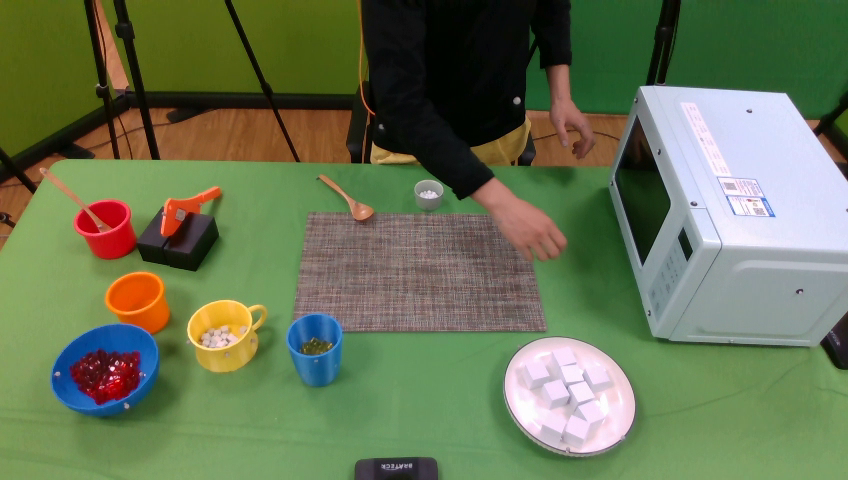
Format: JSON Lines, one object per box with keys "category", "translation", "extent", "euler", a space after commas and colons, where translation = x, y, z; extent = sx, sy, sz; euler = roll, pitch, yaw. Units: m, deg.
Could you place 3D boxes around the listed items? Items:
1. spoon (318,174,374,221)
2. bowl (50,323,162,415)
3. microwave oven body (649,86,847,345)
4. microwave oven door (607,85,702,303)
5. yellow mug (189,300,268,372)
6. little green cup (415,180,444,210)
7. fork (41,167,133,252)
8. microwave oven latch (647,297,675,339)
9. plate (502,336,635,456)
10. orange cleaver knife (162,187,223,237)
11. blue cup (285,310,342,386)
{"category": "spoon", "translation": [-0.168, -0.094, 1.274], "extent": [0.041, 0.022, 0.192], "euler": [-39, 57, -14]}
{"category": "bowl", "translation": [-0.472, 0.209, 0.924], "extent": [0.151, 0.077, 0.150], "euler": [3, 45, -2]}
{"category": "microwave oven body", "translation": [0.567, -0.053, 1.118], "extent": [0.326, 0.261, 0.439], "euler": [2, 45, -1]}
{"category": "microwave oven door", "translation": [0.423, -0.094, 1.141], "extent": [0.039, 0.245, 0.353], "euler": [2, 46, -1]}
{"category": "yellow mug", "translation": [-0.316, 0.148, 1.002], "extent": [0.131, 0.064, 0.099], "euler": [-32, 56, -31]}
{"category": "little green cup", "translation": [0.010, -0.094, 1.278], "extent": [0.061, 0.039, 0.061], "euler": [2, 48, -2]}
{"category": "fork", "translation": [-0.624, -0.056, 1.121], "extent": [0.208, 0.018, 0.028], "euler": [49, 51, -15]}
{"category": "microwave oven latch", "translation": [0.413, 0.134, 1.060], "extent": [0.030, 0.029, 0.078], "euler": [5, 45, 2]}
{"category": "plate", "translation": [0.225, 0.248, 0.963], "extent": [0.208, 0.039, 0.206], "euler": [2, 46, -2]}
{"category": "orange cleaver knife", "translation": [-0.448, -0.058, 1.181], "extent": [0.012, 0.077, 0.211], "euler": [12, 16, 6]}
{"category": "blue cup", "translation": [-0.170, 0.179, 0.958], "extent": [0.093, 0.101, 0.092], "euler": [2, 44, -1]}
